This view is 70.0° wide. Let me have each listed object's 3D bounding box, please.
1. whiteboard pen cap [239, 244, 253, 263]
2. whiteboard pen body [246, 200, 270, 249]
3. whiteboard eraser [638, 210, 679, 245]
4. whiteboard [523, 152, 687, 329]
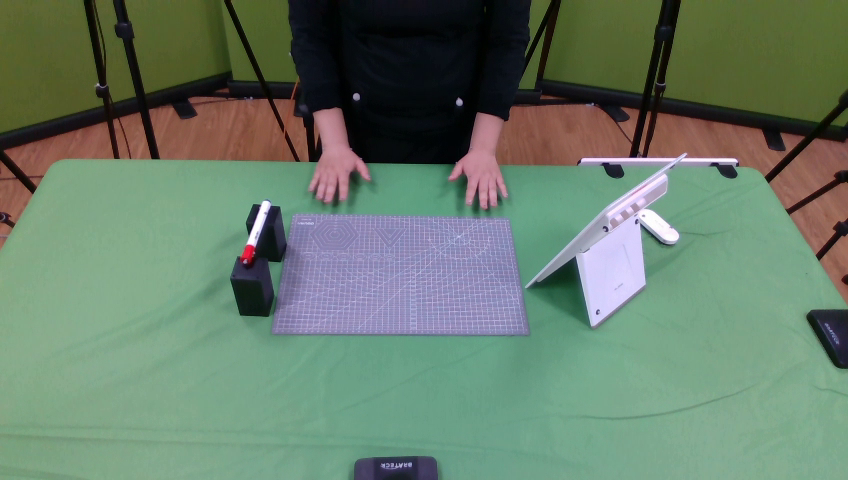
[{"bbox_3d":[-0.298,0.022,1.016,0.017,0.017,0.032,6,45,2],"label":"whiteboard pen cap"},{"bbox_3d":[-0.293,-0.020,1.059,0.017,0.017,0.139,5,46,0],"label":"whiteboard pen body"},{"bbox_3d":[0.485,-0.027,1.260,0.041,0.019,0.100,-21,50,-21],"label":"whiteboard eraser"},{"bbox_3d":[0.346,0.024,1.047,0.217,0.306,0.143,-30,74,-29],"label":"whiteboard"}]
